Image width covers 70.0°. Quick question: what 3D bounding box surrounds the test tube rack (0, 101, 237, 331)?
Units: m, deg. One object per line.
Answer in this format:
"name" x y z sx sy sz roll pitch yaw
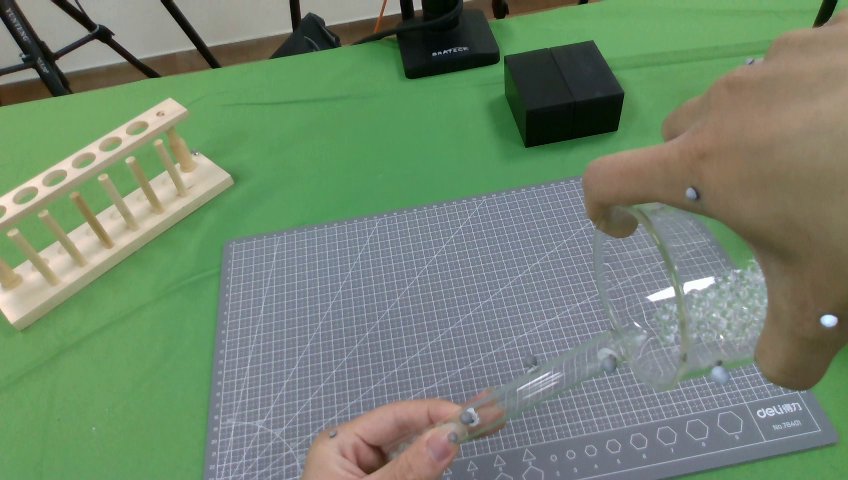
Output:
"test tube rack" -0.312 -0.030 0.591 0.066 0.086 0.242 33 61 30

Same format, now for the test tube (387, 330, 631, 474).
"test tube" 0.035 0.085 0.301 0.150 0.017 0.017 -37 42 27

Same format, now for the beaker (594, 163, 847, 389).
"beaker" 0.130 0.013 0.242 0.100 0.085 0.073 -12 54 -5
